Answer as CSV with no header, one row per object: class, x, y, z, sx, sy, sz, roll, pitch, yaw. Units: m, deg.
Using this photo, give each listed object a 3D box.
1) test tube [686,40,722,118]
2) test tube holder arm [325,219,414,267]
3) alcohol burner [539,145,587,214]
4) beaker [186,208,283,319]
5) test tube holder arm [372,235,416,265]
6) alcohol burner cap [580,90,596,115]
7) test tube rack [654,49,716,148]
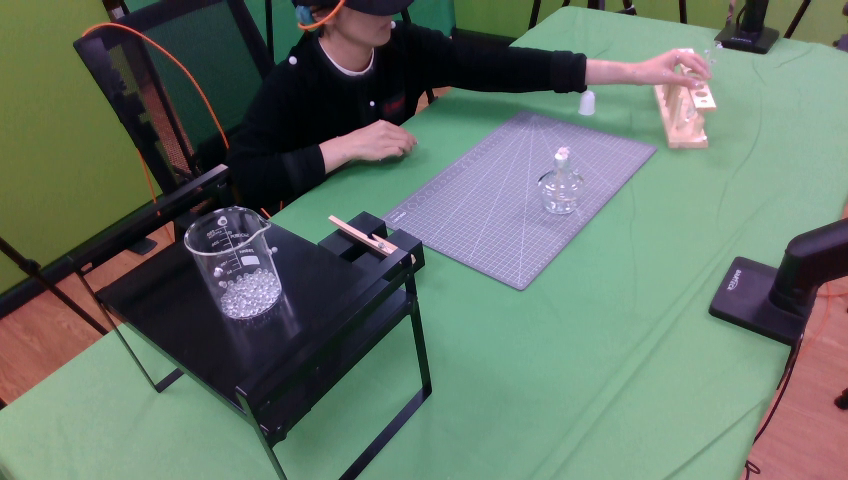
test tube,0.510,-0.291,1.105,0.017,0.150,0.017,2,41,-2
test tube holder arm,-0.086,0.003,0.916,0.177,0.015,0.013,23,48,31
alcohol burner,0.226,-0.102,0.986,0.078,0.119,0.077,-6,41,6
beaker,-0.192,0.026,0.637,0.084,0.101,0.073,-13,41,-7
test tube holder arm,-0.047,0.015,0.895,0.087,0.015,0.010,25,49,32
alcohol burner cap,0.338,-0.283,1.239,0.034,0.048,0.033,-3,41,3
test tube rack,0.502,-0.281,1.176,0.066,0.085,0.241,2,41,11
